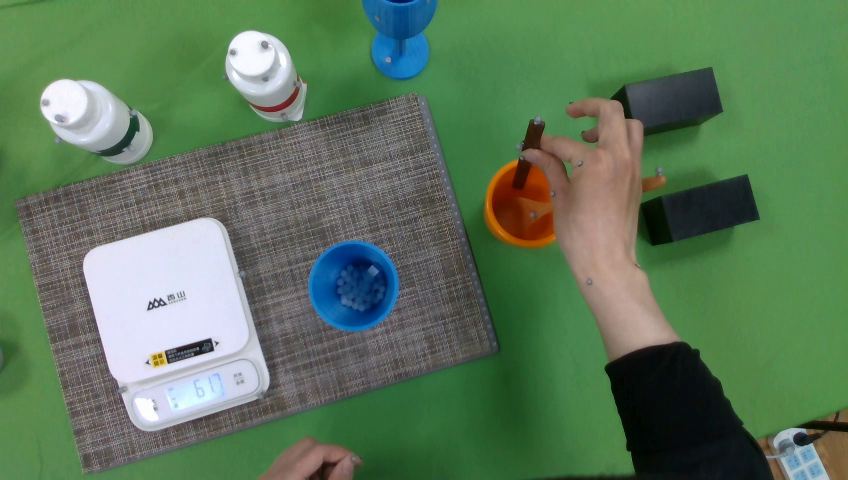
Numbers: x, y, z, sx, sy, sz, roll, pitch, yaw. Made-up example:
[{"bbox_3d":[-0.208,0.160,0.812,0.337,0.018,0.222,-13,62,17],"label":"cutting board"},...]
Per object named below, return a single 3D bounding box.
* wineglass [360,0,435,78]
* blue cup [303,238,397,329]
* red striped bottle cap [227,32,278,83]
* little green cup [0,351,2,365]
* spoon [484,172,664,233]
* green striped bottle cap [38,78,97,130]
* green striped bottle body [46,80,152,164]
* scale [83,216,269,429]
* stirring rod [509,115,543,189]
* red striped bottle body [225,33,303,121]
[{"bbox_3d":[-0.026,-0.222,0.601,0.074,0.172,0.073,0,85,-2],"label":"wineglass"},{"bbox_3d":[-0.068,0.044,0.612,0.093,0.100,0.092,0,86,-1],"label":"blue cup"},{"bbox_3d":[-0.160,-0.170,0.563,0.044,0.018,0.044,0,84,-2],"label":"red striped bottle cap"},{"bbox_3d":[-0.471,0.124,0.620,0.061,0.038,0.061,0,86,-4],"label":"little green cup"},{"bbox_3d":[0.144,-0.039,0.610,0.022,0.193,0.041,-12,90,-48],"label":"spoon"},{"bbox_3d":[-0.323,-0.123,0.548,0.044,0.020,0.044,0,86,-1],"label":"green striped bottle cap"},{"bbox_3d":[-0.325,-0.118,0.604,0.063,0.119,0.063,0,85,-3],"label":"green striped bottle body"},{"bbox_3d":[-0.258,0.086,0.634,0.149,0.031,0.200,-17,87,-4],"label":"scale"},{"bbox_3d":[0.095,-0.079,0.579,0.014,0.177,0.006,11,77,5],"label":"stirring rod"},{"bbox_3d":[-0.162,-0.166,0.616,0.063,0.120,0.063,0,85,-3],"label":"red striped bottle body"}]
